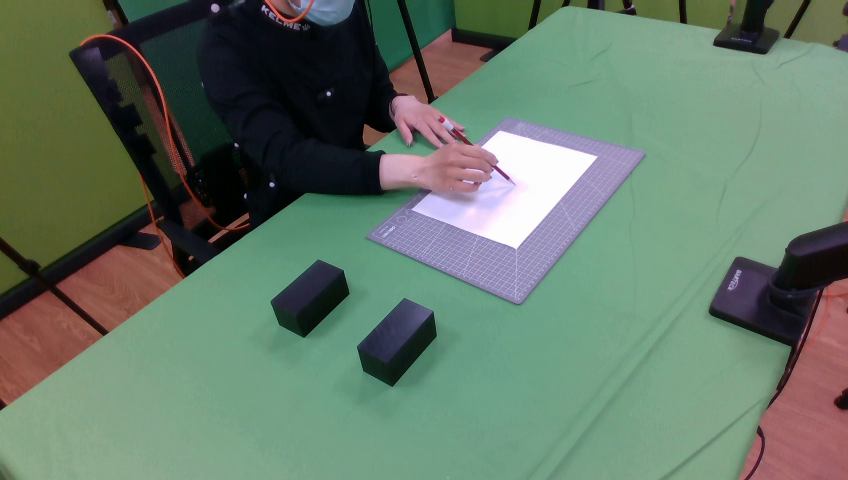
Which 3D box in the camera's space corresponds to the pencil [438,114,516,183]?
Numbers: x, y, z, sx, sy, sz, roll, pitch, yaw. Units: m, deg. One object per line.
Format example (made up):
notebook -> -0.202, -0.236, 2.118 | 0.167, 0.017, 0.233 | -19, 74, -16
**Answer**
pencil -> 0.094, -0.151, 1.025 | 0.012, 0.195, 0.012 | -36, 34, 30
